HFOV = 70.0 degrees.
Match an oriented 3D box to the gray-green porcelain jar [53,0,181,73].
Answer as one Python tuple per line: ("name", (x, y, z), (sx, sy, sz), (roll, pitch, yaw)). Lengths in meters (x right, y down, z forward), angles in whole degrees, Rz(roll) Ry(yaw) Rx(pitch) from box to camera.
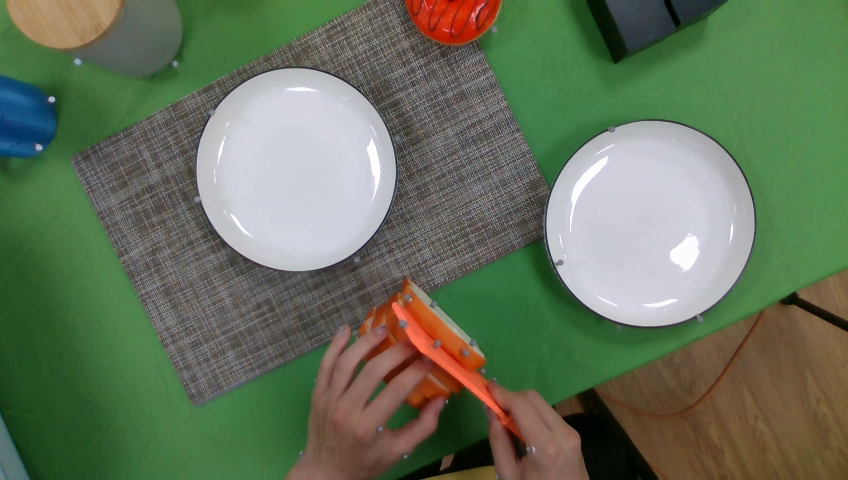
("gray-green porcelain jar", (-0.307, -0.224, 0.587), (0.106, 0.126, 0.106), (0, 93, 3))

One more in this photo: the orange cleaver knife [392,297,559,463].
("orange cleaver knife", (0.047, 0.126, 0.543), (0.012, 0.076, 0.213), (-43, 111, 6))

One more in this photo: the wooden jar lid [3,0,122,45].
("wooden jar lid", (-0.310, -0.222, 0.525), (0.108, 0.021, 0.108), (0, 92, 4))

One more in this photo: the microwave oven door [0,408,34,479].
("microwave oven door", (-0.478, 0.207, 0.546), (0.039, 0.243, 0.356), (-23, 92, 4))

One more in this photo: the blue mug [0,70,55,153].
("blue mug", (-0.455, -0.121, 0.611), (0.082, 0.106, 0.116), (38, 94, 1))

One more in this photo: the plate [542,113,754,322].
("plate", (0.223, -0.022, 0.618), (0.209, 0.038, 0.209), (0, 94, 3))

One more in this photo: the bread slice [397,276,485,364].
("bread slice", (0.016, 0.080, 0.588), (0.107, 0.134, 0.018), (42, 88, -5))

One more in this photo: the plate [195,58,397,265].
("plate", (-0.130, -0.079, 0.628), (0.207, 0.039, 0.207), (0, 94, 3))

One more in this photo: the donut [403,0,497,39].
("donut", (0.026, -0.252, 0.607), (0.099, 0.048, 0.099), (0, 94, 2))

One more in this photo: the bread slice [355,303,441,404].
("bread slice", (-0.027, 0.111, 0.592), (0.105, 0.131, 0.019), (45, 94, 0))
